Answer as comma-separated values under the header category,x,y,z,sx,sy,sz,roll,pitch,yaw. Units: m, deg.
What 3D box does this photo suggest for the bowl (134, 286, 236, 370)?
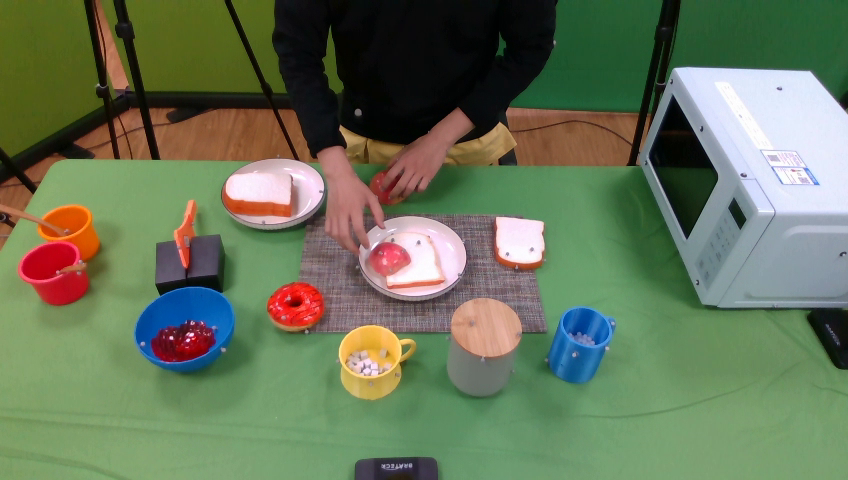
category,x,y,z,sx,sy,sz,roll,pitch,yaw
bowl,-0.377,0.155,0.981,0.151,0.077,0.150,2,46,-2

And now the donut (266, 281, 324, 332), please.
category,x,y,z,sx,sy,sz,roll,pitch,yaw
donut,-0.222,0.115,1.049,0.099,0.048,0.098,2,45,-2

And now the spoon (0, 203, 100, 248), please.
category,x,y,z,sx,sy,sz,roll,pitch,yaw
spoon,-0.683,-0.031,1.088,0.195,0.021,0.041,33,33,-38

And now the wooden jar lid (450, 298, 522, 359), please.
category,x,y,z,sx,sy,sz,roll,pitch,yaw
wooden jar lid,0.093,0.135,0.914,0.108,0.021,0.107,2,48,-3

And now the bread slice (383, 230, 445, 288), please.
category,x,y,z,sx,sy,sz,roll,pitch,yaw
bread slice,-0.028,0.035,1.144,0.107,0.018,0.133,-7,48,-12

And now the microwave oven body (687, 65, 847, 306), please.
category,x,y,z,sx,sy,sz,roll,pitch,yaw
microwave oven body,0.669,-0.111,1.176,0.326,0.261,0.439,0,46,-3

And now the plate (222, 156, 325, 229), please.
category,x,y,z,sx,sy,sz,roll,pitch,yaw
plate,-0.308,-0.095,1.251,0.209,0.038,0.208,2,46,-2

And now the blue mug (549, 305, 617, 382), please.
category,x,y,z,sx,sy,sz,roll,pitch,yaw
blue mug,0.269,0.166,0.998,0.116,0.106,0.082,-19,51,-21

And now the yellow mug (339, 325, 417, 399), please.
category,x,y,z,sx,sy,sz,roll,pitch,yaw
yellow mug,-0.072,0.190,0.978,0.131,0.064,0.099,-17,50,-20

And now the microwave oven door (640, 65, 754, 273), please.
category,x,y,z,sx,sy,sz,roll,pitch,yaw
microwave oven door,0.522,-0.147,1.193,0.039,0.245,0.353,0,47,-3

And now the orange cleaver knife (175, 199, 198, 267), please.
category,x,y,z,sx,sy,sz,roll,pitch,yaw
orange cleaver knife,-0.438,-0.017,1.138,0.012,0.077,0.210,-14,27,-7

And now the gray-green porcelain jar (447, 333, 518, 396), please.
category,x,y,z,sx,sy,sz,roll,pitch,yaw
gray-green porcelain jar,0.091,0.178,0.960,0.106,0.127,0.105,2,46,-2

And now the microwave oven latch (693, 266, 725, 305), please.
category,x,y,z,sx,sy,sz,roll,pitch,yaw
microwave oven latch,0.523,0.082,1.115,0.030,0.029,0.078,3,46,0

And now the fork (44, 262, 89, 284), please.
category,x,y,z,sx,sy,sz,roll,pitch,yaw
fork,-0.598,0.054,1.014,0.207,0.019,0.028,-15,29,45

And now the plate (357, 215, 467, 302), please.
category,x,y,z,sx,sy,sz,roll,pitch,yaw
plate,-0.022,0.037,1.141,0.208,0.039,0.206,2,46,-2

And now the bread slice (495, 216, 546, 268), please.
category,x,y,z,sx,sy,sz,roll,pitch,yaw
bread slice,0.194,0.002,1.205,0.105,0.019,0.131,5,45,2

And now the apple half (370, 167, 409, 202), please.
category,x,y,z,sx,sy,sz,roll,pitch,yaw
apple half,-0.073,-0.122,1.283,0.081,0.053,0.074,-26,53,-24

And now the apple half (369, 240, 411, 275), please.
category,x,y,z,sx,sy,sz,roll,pitch,yaw
apple half,-0.066,0.024,1.121,0.081,0.033,0.081,1,48,-1
